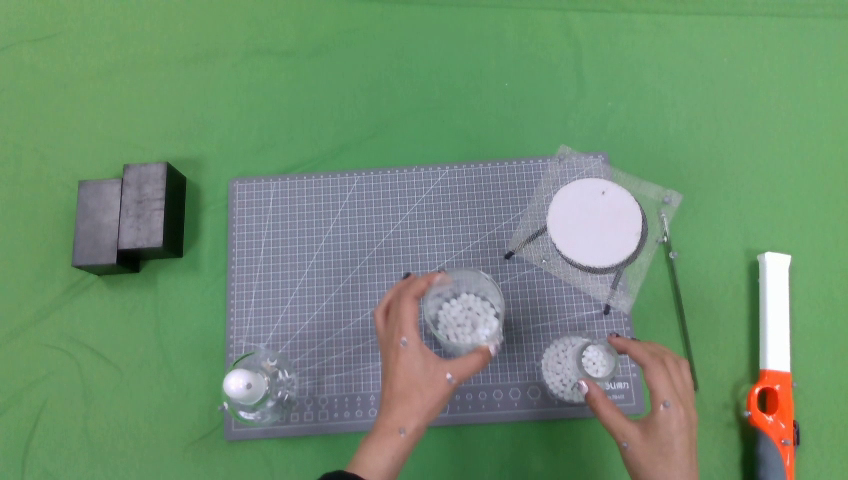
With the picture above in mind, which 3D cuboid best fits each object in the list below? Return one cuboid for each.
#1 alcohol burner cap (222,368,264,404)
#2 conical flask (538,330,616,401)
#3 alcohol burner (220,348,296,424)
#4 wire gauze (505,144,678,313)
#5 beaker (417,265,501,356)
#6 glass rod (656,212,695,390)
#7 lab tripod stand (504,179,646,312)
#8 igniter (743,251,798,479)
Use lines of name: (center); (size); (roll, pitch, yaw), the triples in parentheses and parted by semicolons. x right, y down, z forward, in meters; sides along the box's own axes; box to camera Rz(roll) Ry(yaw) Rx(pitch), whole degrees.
alcohol burner cap: (-0.174, 0.136, 0.575); (0.034, 0.048, 0.033); (0, 69, 0)
conical flask: (0.157, 0.122, 0.599); (0.075, 0.122, 0.075); (-1, 76, 3)
alcohol burner: (-0.172, 0.147, 0.609); (0.078, 0.119, 0.077); (-1, 77, 3)
wire gauze: (0.154, -0.015, 0.558); (0.124, 0.011, 0.121); (28, 81, 9)
beaker: (0.039, 0.075, 0.593); (0.083, 0.101, 0.074); (42, 80, 16)
glass rod: (0.277, 0.064, 0.670); (0.008, 0.008, 0.198); (-5, 75, 1)
lab tripod stand: (0.159, 0.003, 0.622); (0.148, 0.132, 0.147); (-1, 77, 4)
igniter: (0.364, 0.147, 0.637); (0.057, 0.025, 0.275); (9, 76, -6)
